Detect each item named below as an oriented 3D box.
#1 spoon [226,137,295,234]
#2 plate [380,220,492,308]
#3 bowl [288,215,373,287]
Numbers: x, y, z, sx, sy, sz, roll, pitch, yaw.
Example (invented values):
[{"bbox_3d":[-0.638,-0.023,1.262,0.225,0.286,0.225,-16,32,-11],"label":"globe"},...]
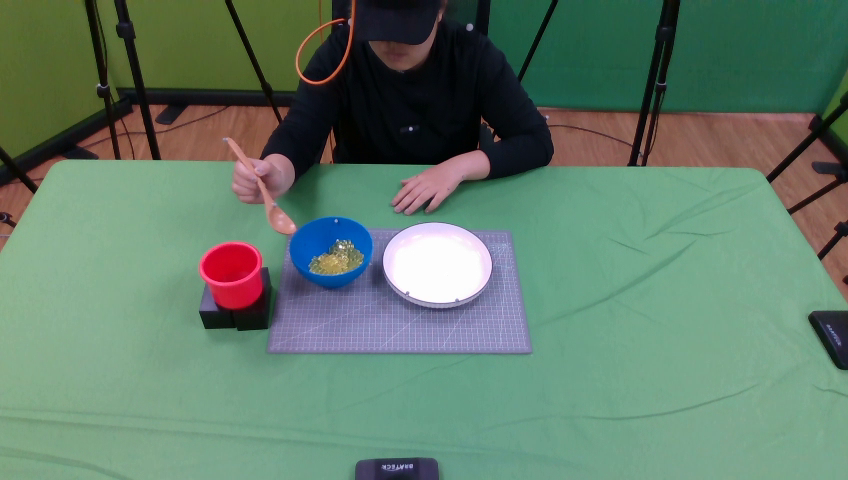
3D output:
[{"bbox_3d":[-0.271,-0.090,0.996,0.041,0.021,0.193,-26,85,-46],"label":"spoon"},{"bbox_3d":[0.022,0.048,1.137,0.208,0.039,0.206,2,46,-2],"label":"plate"},{"bbox_3d":[-0.168,0.034,1.109,0.151,0.077,0.150,2,46,-2],"label":"bowl"}]
